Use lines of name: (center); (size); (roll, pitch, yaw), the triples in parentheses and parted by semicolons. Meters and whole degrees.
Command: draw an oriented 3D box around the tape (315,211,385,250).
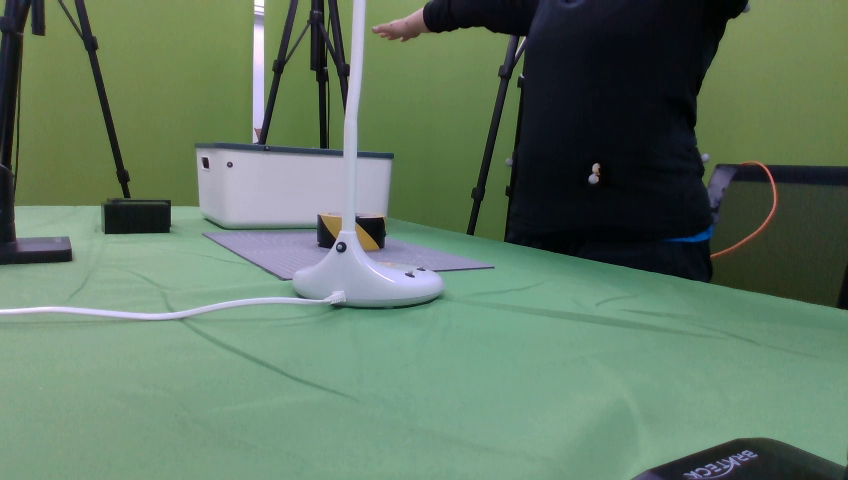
tape: (-0.119, -0.017, 0.973); (0.117, 0.052, 0.117); (2, 7, 0)

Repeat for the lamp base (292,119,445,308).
lamp base: (-0.056, -0.030, 0.616); (0.160, 0.180, 0.179); (3, 10, 8)

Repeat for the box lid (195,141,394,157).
box lid: (-0.277, -0.190, 1.282); (0.373, 0.015, 0.262); (-1, 8, -30)

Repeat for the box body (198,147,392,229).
box body: (-0.278, -0.117, 1.292); (0.366, 0.160, 0.253); (-2, 8, -30)
